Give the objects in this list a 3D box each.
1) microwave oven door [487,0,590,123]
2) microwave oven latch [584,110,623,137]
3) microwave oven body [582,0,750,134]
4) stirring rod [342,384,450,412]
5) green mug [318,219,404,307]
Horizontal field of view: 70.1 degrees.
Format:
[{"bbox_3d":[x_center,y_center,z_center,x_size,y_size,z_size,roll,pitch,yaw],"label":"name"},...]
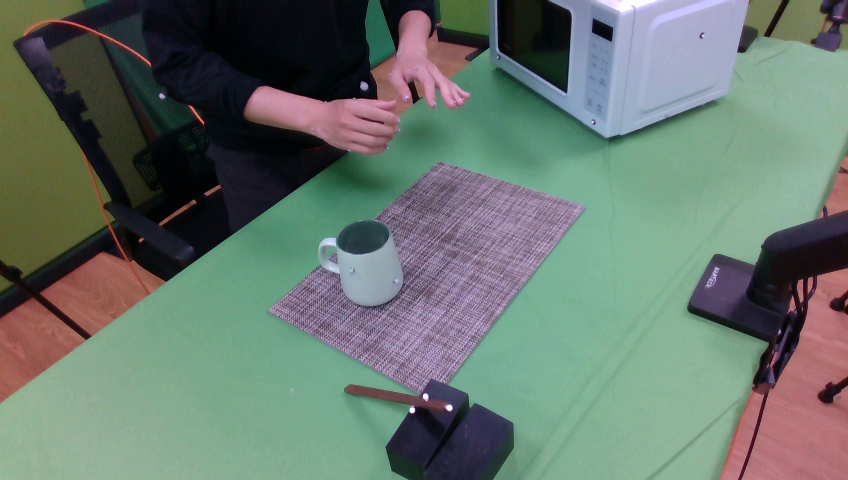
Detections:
[{"bbox_3d":[0.232,-0.420,1.231,0.039,0.245,0.352,-22,43,-16],"label":"microwave oven door"},{"bbox_3d":[0.337,-0.222,1.142,0.030,0.029,0.078,-21,42,-14],"label":"microwave oven latch"},{"bbox_3d":[0.382,-0.445,1.246,0.327,0.261,0.437,-22,42,-16],"label":"microwave oven body"},{"bbox_3d":[-0.038,0.186,0.714,0.175,0.006,0.014,-3,22,43],"label":"stirring rod"},{"bbox_3d":[-0.096,0.032,0.876,0.125,0.105,0.092,8,43,17],"label":"green mug"}]
